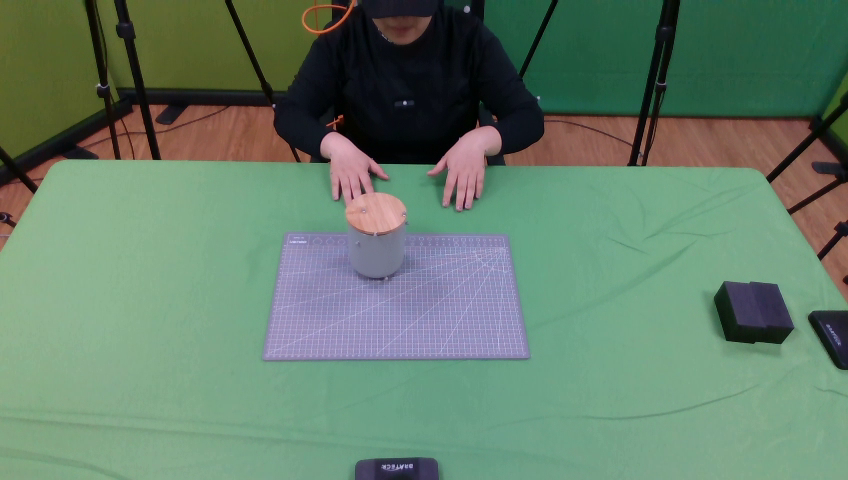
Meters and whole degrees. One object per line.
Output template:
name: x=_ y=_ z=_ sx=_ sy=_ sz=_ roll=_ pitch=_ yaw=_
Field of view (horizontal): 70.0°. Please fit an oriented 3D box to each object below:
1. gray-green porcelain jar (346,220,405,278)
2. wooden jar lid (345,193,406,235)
gray-green porcelain jar: x=-0.089 y=0.000 z=1.116 sx=0.106 sy=0.127 sz=0.105 roll=2 pitch=46 yaw=-2
wooden jar lid: x=-0.086 y=-0.043 z=1.071 sx=0.108 sy=0.021 sz=0.107 roll=3 pitch=44 yaw=-3
